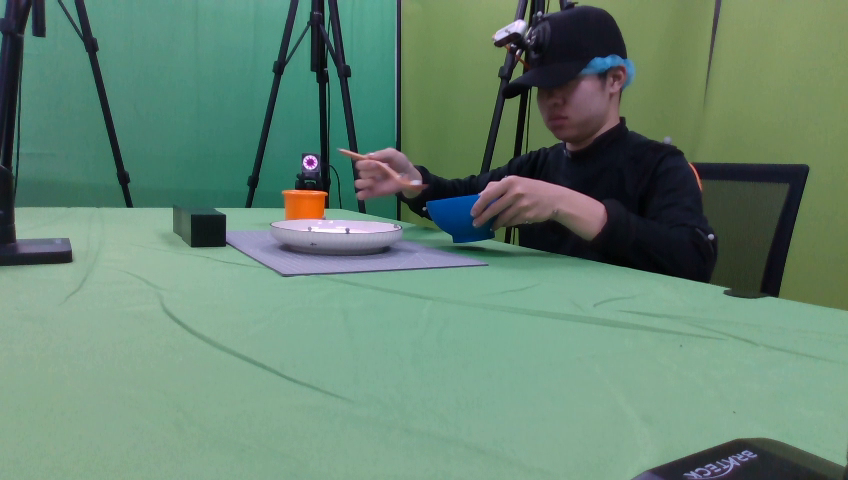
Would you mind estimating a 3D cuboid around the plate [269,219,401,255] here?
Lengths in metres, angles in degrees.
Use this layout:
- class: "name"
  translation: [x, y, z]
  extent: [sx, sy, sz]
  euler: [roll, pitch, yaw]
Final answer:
- class: "plate"
  translation: [-0.140, -0.006, 0.958]
  extent: [0.209, 0.038, 0.209]
  euler: [3, 7, 0]

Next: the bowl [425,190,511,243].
- class: "bowl"
  translation: [0.080, -0.038, 1.038]
  extent: [0.151, 0.077, 0.151]
  euler: [-8, 4, 1]

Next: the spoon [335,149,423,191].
- class: "spoon"
  translation: [-0.082, -0.125, 1.053]
  extent: [0.193, 0.021, 0.042]
  euler: [31, 20, 26]

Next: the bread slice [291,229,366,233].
- class: "bread slice"
  translation: [-0.143, -0.003, 0.953]
  extent: [0.135, 0.018, 0.106]
  euler: [-1, 8, -37]
